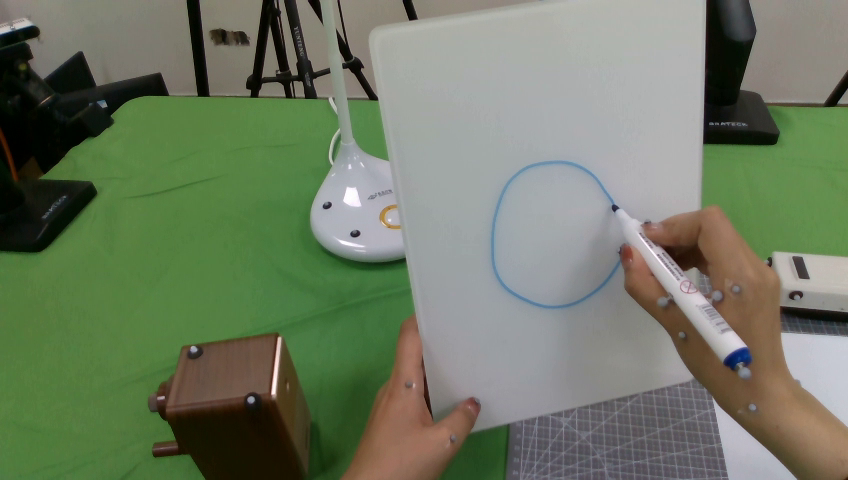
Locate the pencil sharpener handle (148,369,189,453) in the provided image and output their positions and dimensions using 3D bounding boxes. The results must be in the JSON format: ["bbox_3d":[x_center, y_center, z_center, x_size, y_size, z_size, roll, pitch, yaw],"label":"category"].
[{"bbox_3d":[-0.182,0.123,0.423,0.030,0.068,0.035,-7,28,-2],"label":"pencil sharpener handle"}]

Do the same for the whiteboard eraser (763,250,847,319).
[{"bbox_3d":[0.362,0.041,0.529,0.112,0.042,0.055,6,43,12],"label":"whiteboard eraser"}]

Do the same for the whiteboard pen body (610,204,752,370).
[{"bbox_3d":[0.151,0.021,0.373,0.017,0.017,0.139,-14,45,-10],"label":"whiteboard pen body"}]

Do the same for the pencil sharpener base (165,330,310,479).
[{"bbox_3d":[-0.131,0.124,0.436,0.077,0.108,0.060,-7,41,-2],"label":"pencil sharpener base"}]

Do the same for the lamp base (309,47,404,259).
[{"bbox_3d":[-0.061,-0.098,0.631,0.161,0.182,0.177,-30,44,-26],"label":"lamp base"}]

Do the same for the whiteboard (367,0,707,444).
[{"bbox_3d":[0.083,-0.028,0.483,0.217,0.307,0.142,-11,22,-5],"label":"whiteboard"}]
